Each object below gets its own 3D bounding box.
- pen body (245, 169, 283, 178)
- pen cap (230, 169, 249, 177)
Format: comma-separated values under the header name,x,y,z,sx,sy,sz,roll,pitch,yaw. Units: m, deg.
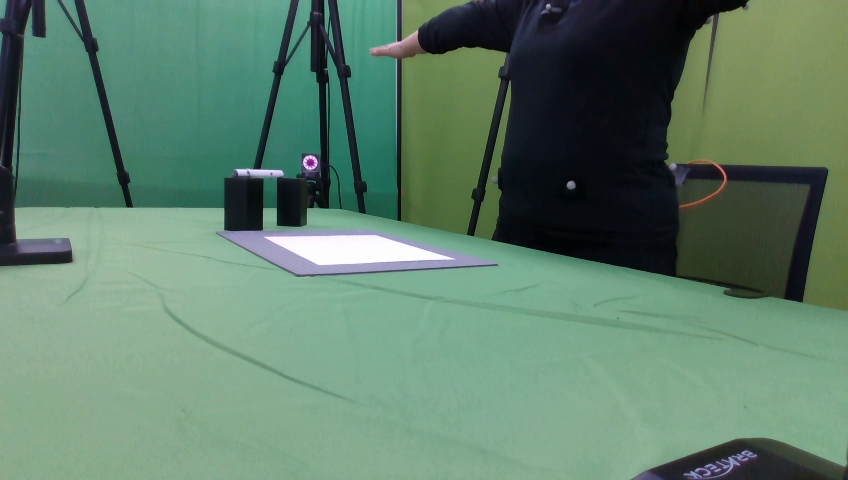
name,x,y,z,sx,sy,sz,roll,pitch,yaw
pen body,-0.325,-0.130,1.195,0.017,0.017,0.144,6,7,22
pen cap,-0.347,-0.125,1.138,0.017,0.017,0.038,6,8,21
